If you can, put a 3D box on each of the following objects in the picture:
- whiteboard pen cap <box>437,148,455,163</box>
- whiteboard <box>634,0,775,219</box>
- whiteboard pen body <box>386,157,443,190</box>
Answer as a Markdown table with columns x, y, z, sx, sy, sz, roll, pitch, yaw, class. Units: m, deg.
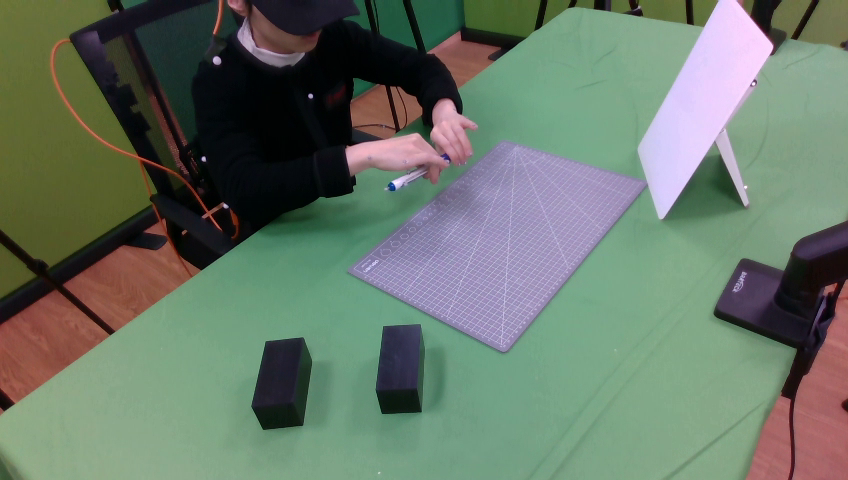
| x | y | z | sx | sy | sz | roll | pitch | yaw | class |
| --- | --- | --- | --- | --- | --- | --- | --- | --- | --- |
| 0.036 | -0.143 | 1.030 | 0.033 | 0.018 | 0.018 | -34 | 47 | -30 | whiteboard pen cap |
| 0.485 | -0.193 | 0.957 | 0.144 | 0.305 | 0.216 | 14 | 41 | -4 | whiteboard |
| -0.006 | -0.115 | 1.000 | 0.141 | 0.017 | 0.017 | -31 | 46 | -32 | whiteboard pen body |
